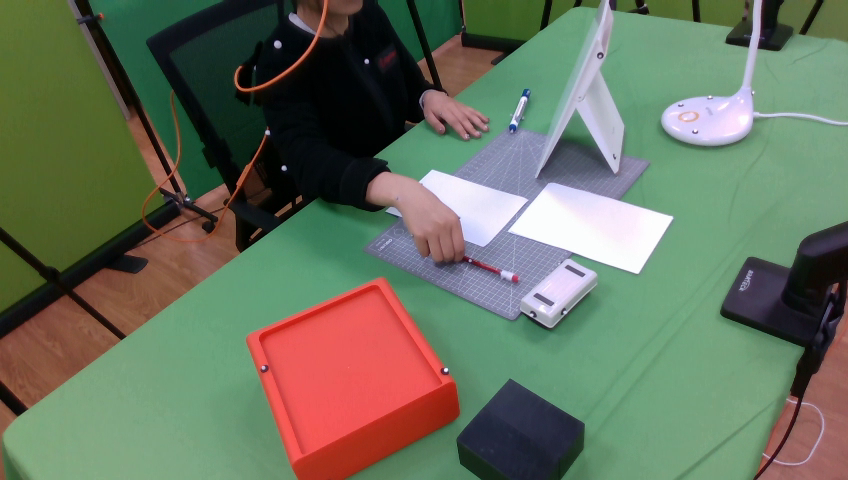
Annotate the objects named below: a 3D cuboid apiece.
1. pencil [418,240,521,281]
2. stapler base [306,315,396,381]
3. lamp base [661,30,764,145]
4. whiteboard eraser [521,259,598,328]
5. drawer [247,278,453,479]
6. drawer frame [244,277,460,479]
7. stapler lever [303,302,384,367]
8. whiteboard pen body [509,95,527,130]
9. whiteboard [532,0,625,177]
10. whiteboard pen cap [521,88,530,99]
[{"bbox_3d":[0.065,0.028,0.939,0.192,0.012,0.012,21,48,32],"label":"pencil"},{"bbox_3d":[-0.101,0.139,0.819,0.131,0.024,0.041,-31,37,-13],"label":"stapler base"},{"bbox_3d":[0.535,-0.287,1.096,0.179,0.181,0.159,-10,40,-4],"label":"lamp base"},{"bbox_3d":[0.189,0.076,0.843,0.055,0.042,0.113,29,53,37],"label":"whiteboard eraser"},{"bbox_3d":[-0.096,0.167,0.758,0.195,0.073,0.210,-22,43,-16],"label":"drawer"},{"bbox_3d":[-0.093,0.167,0.755,0.202,0.083,0.211,-23,43,-17],"label":"drawer frame"},{"bbox_3d":[-0.108,0.124,0.805,0.118,0.040,0.026,-27,36,-15],"label":"stapler lever"},{"bbox_3d":[0.199,-0.273,1.261,0.017,0.017,0.140,8,44,19],"label":"whiteboard pen body"},{"bbox_3d":[0.321,-0.258,1.050,0.144,0.306,0.217,21,45,5],"label":"whiteboard"},{"bbox_3d":[0.218,-0.312,1.301,0.018,0.018,0.033,6,46,18],"label":"whiteboard pen cap"}]
